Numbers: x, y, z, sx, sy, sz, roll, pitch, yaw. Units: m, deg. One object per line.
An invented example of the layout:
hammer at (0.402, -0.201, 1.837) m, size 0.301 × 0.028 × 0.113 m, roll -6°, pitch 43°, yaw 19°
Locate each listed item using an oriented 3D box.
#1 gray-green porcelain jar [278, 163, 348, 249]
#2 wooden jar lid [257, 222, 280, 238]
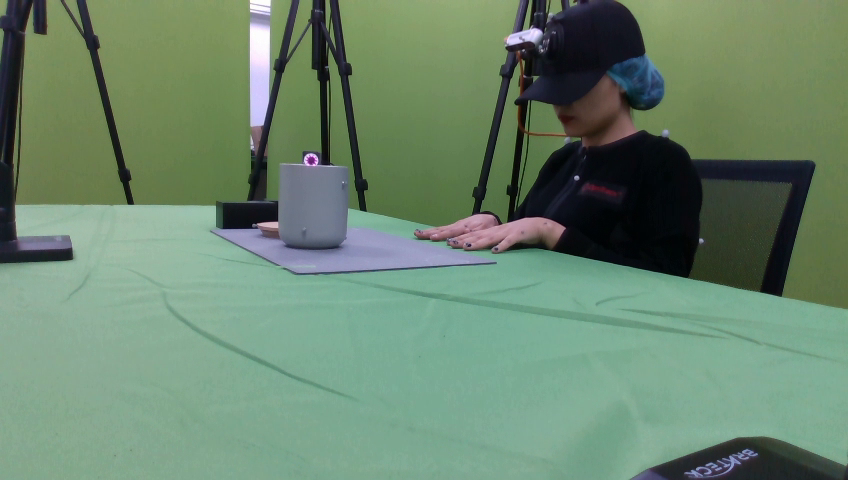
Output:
gray-green porcelain jar at (-0.171, -0.053, 0.934) m, size 0.106 × 0.126 × 0.106 m, roll 2°, pitch 7°, yaw 0°
wooden jar lid at (-0.234, -0.017, 1.053) m, size 0.108 × 0.020 × 0.108 m, roll 2°, pitch 9°, yaw 0°
